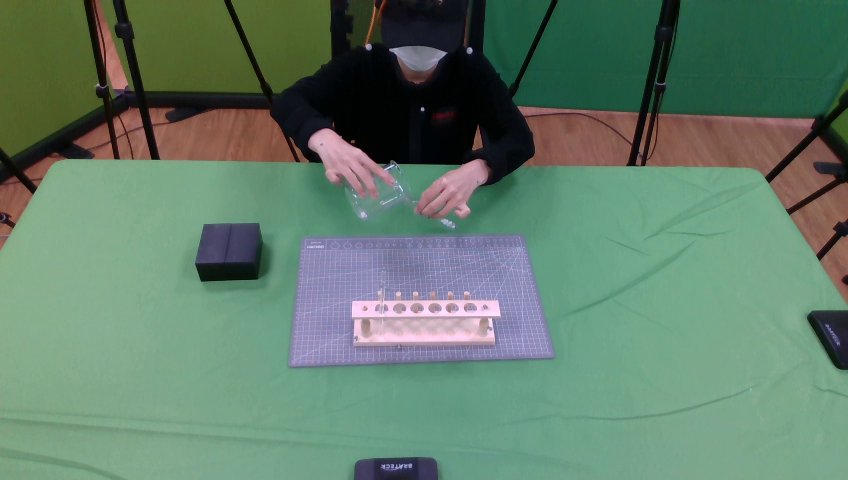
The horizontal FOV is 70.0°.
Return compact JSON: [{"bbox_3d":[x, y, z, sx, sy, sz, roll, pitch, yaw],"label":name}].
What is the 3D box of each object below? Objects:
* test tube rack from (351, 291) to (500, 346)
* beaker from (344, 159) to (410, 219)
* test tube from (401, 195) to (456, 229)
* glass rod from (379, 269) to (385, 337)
[{"bbox_3d":[0.000,0.129,1.026,0.242,0.085,0.066,0,46,-4],"label":"test tube rack"},{"bbox_3d":[-0.084,-0.085,1.074,0.100,0.084,0.073,-28,41,-12],"label":"beaker"},{"bbox_3d":[0.011,-0.051,1.160,0.151,0.017,0.017,26,28,-43],"label":"test tube"},{"bbox_3d":[-0.066,0.104,0.953,0.008,0.200,0.008,3,53,-3],"label":"glass rod"}]
